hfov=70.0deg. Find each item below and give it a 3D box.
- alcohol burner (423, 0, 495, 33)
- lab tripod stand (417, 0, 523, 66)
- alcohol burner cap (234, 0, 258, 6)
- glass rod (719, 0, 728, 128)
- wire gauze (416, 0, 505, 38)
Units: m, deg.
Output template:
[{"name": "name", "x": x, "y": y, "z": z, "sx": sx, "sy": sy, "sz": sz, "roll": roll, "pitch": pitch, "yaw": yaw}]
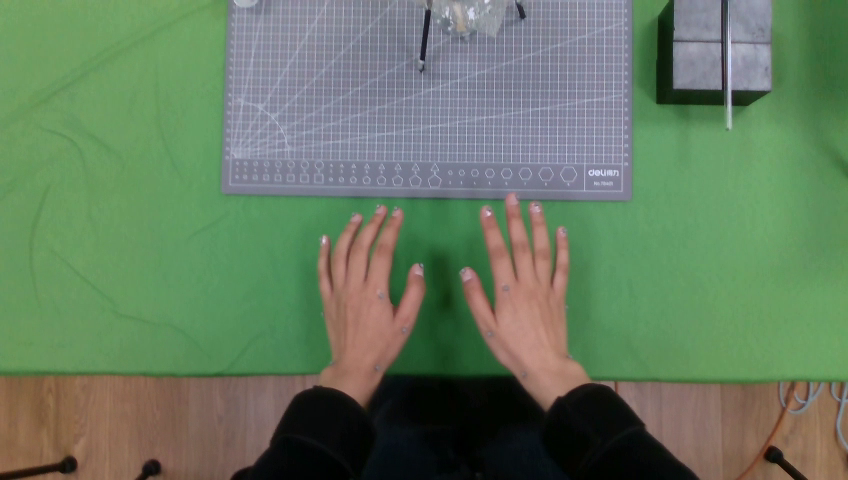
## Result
[{"name": "alcohol burner", "x": 0.037, "y": -0.261, "z": 0.619, "sx": 0.078, "sy": 0.119, "sz": 0.078, "roll": 0, "pitch": 87, "yaw": 0}, {"name": "lab tripod stand", "x": 0.034, "y": -0.259, "z": 0.609, "sx": 0.148, "sy": 0.132, "sz": 0.148, "roll": 0, "pitch": 85, "yaw": 1}, {"name": "alcohol burner cap", "x": -0.201, "y": -0.281, "z": 0.662, "sx": 0.034, "sy": 0.048, "sz": 0.034, "roll": 0, "pitch": 86, "yaw": 3}, {"name": "glass rod", "x": 0.305, "y": -0.213, "z": 0.617, "sx": 0.008, "sy": 0.008, "sz": 0.199, "roll": 2, "pitch": 87, "yaw": 2}, {"name": "wire gauze", "x": 0.028, "y": -0.262, "z": 0.545, "sx": 0.125, "sy": 0.011, "sz": 0.121, "roll": 23, "pitch": 89, "yaw": 0}]
